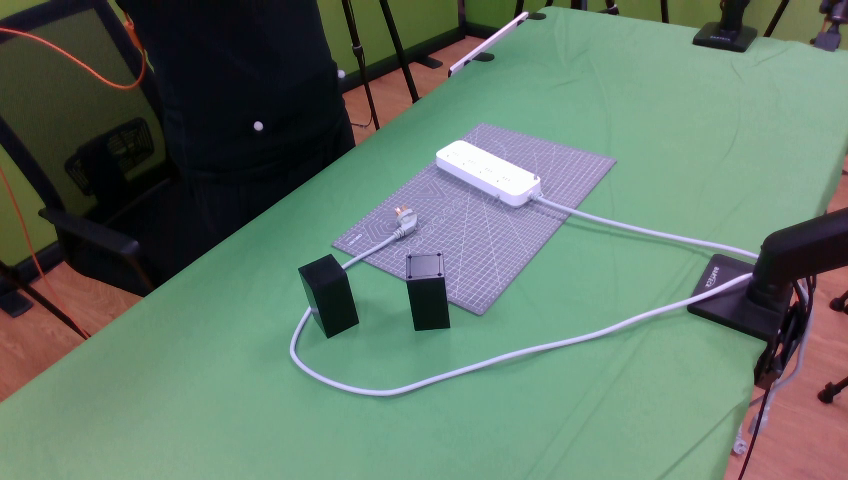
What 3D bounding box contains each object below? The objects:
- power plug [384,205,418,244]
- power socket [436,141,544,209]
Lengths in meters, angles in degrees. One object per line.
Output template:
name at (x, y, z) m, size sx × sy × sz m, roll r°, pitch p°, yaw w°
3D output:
power plug at (-0.043, -0.030, 0.991) m, size 0.073 × 0.035 × 0.052 m, roll -20°, pitch 58°, yaw -31°
power socket at (0.111, -0.120, 1.082) m, size 0.072 × 0.033 × 0.224 m, roll -34°, pitch 47°, yaw -27°
